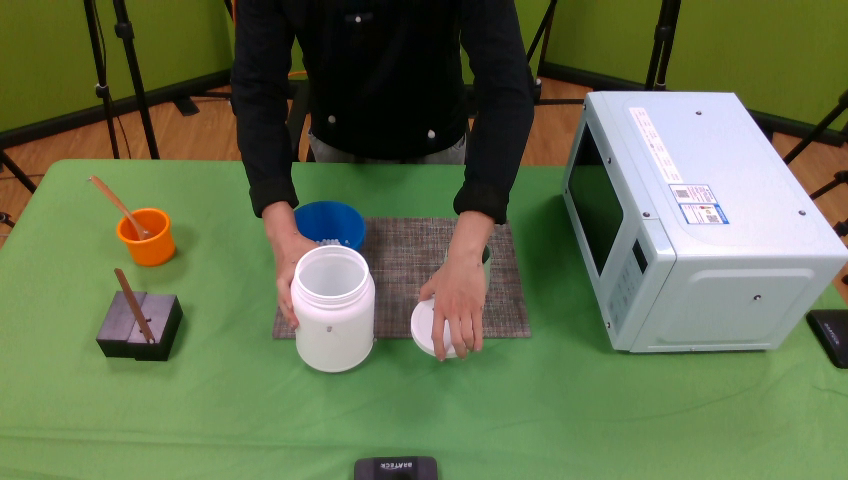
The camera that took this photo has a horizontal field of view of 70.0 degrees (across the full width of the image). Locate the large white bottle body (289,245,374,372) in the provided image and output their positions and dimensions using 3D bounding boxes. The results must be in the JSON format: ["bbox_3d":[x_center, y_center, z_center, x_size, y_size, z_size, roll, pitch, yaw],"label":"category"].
[{"bbox_3d":[-0.145,0.108,0.963,0.131,0.185,0.130,3,45,-3],"label":"large white bottle body"}]

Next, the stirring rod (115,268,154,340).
[{"bbox_3d":[-0.479,0.102,0.999,0.014,0.006,0.175,8,32,-49],"label":"stirring rod"}]

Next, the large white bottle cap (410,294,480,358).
[{"bbox_3d":[0.034,0.138,0.986,0.115,0.018,0.114,1,50,0],"label":"large white bottle cap"}]

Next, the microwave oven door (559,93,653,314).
[{"bbox_3d":[0.327,-0.075,1.123,0.039,0.245,0.353,-1,46,-5],"label":"microwave oven door"}]

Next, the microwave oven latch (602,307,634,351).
[{"bbox_3d":[0.332,0.153,1.044,0.030,0.029,0.078,-1,45,-4],"label":"microwave oven latch"}]

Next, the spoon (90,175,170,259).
[{"bbox_3d":[-0.539,-0.042,1.111,0.021,0.194,0.041,-15,25,50],"label":"spoon"}]

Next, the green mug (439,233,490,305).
[{"bbox_3d":[0.072,0.044,1.101,0.092,0.105,0.124,-6,46,-9],"label":"green mug"}]

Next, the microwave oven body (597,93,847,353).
[{"bbox_3d":[0.475,-0.041,1.109,0.326,0.261,0.438,-1,45,-4],"label":"microwave oven body"}]

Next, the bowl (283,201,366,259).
[{"bbox_3d":[-0.186,0.004,1.137,0.151,0.077,0.150,4,45,-4],"label":"bowl"}]
